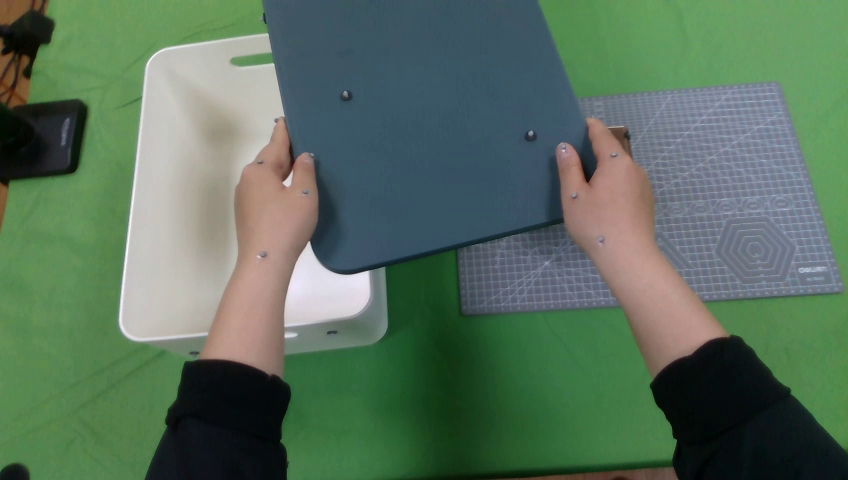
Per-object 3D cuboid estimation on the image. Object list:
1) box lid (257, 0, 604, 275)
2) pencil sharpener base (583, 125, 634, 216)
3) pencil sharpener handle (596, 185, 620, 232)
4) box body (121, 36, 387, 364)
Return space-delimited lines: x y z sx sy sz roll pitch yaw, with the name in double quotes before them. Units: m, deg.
"box lid" -0.010 -0.162 0.571 0.263 0.015 0.368 -14 69 -5
"pencil sharpener base" 0.207 -0.078 0.730 0.061 0.108 0.076 -3 69 4
"pencil sharpener handle" 0.209 -0.035 0.700 0.036 0.068 0.030 -5 68 9
"box body" -0.184 -0.046 0.725 0.254 0.161 0.361 -7 68 2
